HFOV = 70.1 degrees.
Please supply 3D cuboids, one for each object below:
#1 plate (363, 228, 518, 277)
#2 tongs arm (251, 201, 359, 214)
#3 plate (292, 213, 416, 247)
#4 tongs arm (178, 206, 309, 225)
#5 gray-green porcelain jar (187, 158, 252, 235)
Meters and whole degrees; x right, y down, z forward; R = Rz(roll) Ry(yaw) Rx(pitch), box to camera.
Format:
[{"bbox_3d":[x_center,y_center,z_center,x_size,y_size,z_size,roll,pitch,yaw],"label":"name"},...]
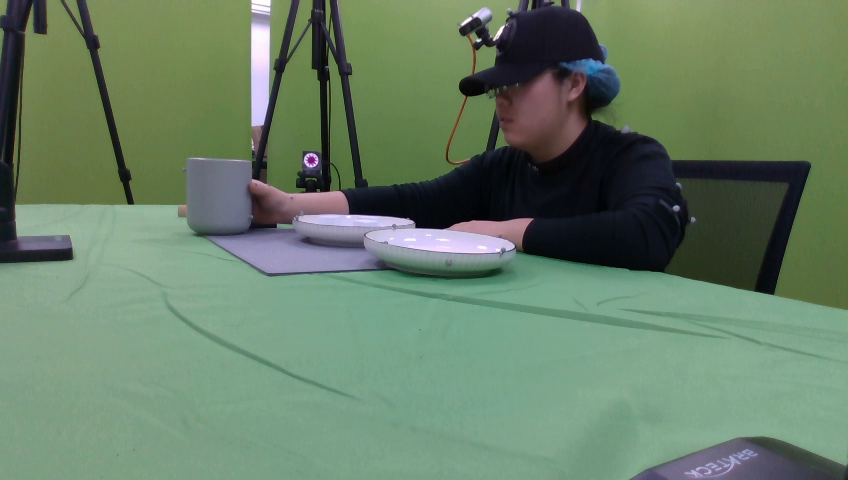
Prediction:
[{"bbox_3d":[0.021,0.016,0.817,0.209,0.038,0.209,4,9,0],"label":"plate"},{"bbox_3d":[-0.308,-0.064,1.349,0.384,0.026,0.051,7,10,20],"label":"tongs arm"},{"bbox_3d":[-0.118,-0.017,1.024,0.208,0.039,0.207,3,8,0],"label":"plate"},{"bbox_3d":[-0.331,-0.049,1.270,0.387,0.028,0.028,4,6,6],"label":"tongs arm"},{"bbox_3d":[-0.350,-0.075,1.036,0.106,0.126,0.106,3,8,0],"label":"gray-green porcelain jar"}]
